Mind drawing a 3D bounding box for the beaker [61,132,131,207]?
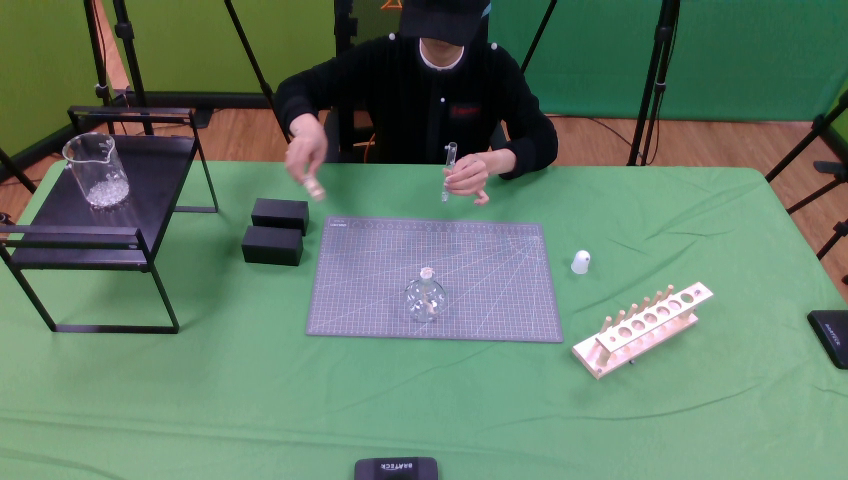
[{"bbox_3d":[-0.512,-0.107,0.959,0.083,0.101,0.074,29,51,22],"label":"beaker"}]

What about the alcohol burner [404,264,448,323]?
[{"bbox_3d":[0.003,0.087,1.042,0.078,0.120,0.077,1,45,0],"label":"alcohol burner"}]

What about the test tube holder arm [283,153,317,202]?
[{"bbox_3d":[-0.229,-0.117,1.110,0.013,0.015,0.177,-20,40,-21],"label":"test tube holder arm"}]

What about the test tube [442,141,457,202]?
[{"bbox_3d":[0.047,-0.124,1.129,0.017,0.151,0.017,2,52,-3],"label":"test tube"}]

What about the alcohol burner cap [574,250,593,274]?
[{"bbox_3d":[0.308,0.039,1.163,0.034,0.048,0.033,1,46,-1],"label":"alcohol burner cap"}]

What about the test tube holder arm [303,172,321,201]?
[{"bbox_3d":[-0.203,-0.096,1.080,0.010,0.015,0.087,-19,40,-20],"label":"test tube holder arm"}]

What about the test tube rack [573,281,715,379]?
[{"bbox_3d":[0.378,0.140,1.038,0.242,0.085,0.066,-22,51,-23],"label":"test tube rack"}]
